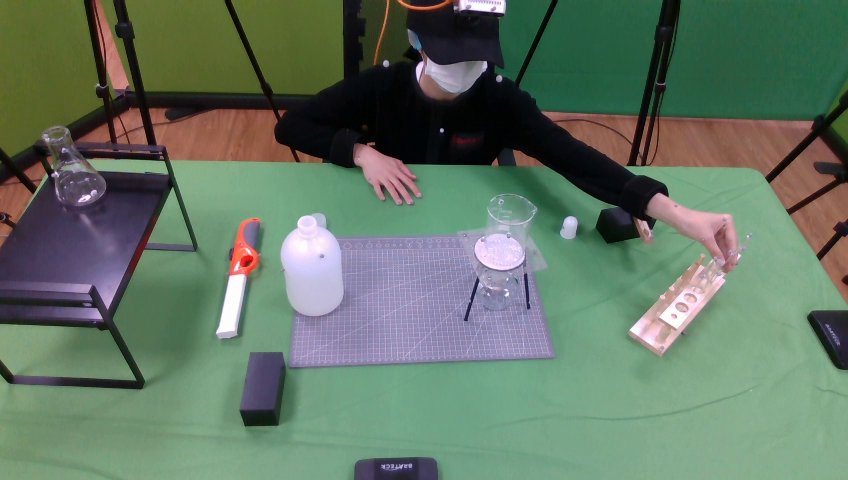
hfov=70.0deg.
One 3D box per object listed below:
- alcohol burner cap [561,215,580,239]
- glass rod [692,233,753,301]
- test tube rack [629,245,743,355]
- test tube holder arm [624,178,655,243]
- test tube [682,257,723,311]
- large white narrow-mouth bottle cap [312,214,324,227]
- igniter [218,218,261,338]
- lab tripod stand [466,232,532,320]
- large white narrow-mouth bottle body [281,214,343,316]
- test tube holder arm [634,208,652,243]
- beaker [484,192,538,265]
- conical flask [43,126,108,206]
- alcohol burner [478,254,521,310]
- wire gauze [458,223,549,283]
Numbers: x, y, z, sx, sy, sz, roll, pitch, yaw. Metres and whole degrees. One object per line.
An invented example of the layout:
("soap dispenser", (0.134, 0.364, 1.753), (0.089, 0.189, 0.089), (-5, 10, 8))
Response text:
("alcohol burner cap", (0.299, -0.030, 1.231), (0.034, 0.048, 0.033), (1, 46, -1))
("glass rod", (0.508, 0.053, 1.042), (0.008, 0.200, 0.008), (5, 50, -6))
("test tube rack", (0.474, 0.095, 1.091), (0.242, 0.085, 0.066), (-34, 57, -31))
("test tube holder arm", (0.432, -0.062, 1.220), (0.013, 0.015, 0.177), (1, 47, -4))
("test tube", (0.475, 0.080, 1.037), (0.017, 0.151, 0.017), (1, 51, -1))
("large white narrow-mouth bottle cap", (-0.219, -0.033, 1.214), (0.038, 0.024, 0.037), (2, 46, -2))
("igniter", (-0.337, 0.060, 1.111), (0.057, 0.025, 0.274), (-7, 46, 4))
("lab tripod stand", (0.125, 0.060, 1.065), (0.148, 0.132, 0.147), (1, 45, 0))
("large white narrow-mouth bottle body", (-0.190, 0.035, 1.025), (0.102, 0.195, 0.101), (2, 46, -2))
("test tube holder arm", (0.428, -0.030, 1.189), (0.010, 0.015, 0.087), (2, 47, -3))
("beaker", (0.137, -0.016, 0.980), (0.084, 0.101, 0.073), (-6, 45, -9))
("conical flask", (-0.555, -0.119, 0.953), (0.075, 0.122, 0.075), (2, 46, -2))
("alcohol burner", (0.134, 0.068, 1.071), (0.078, 0.120, 0.077), (0, 47, 0))
("wire gauze", (0.131, 0.016, 1.017), (0.121, 0.011, 0.124), (-10, 44, -15))
